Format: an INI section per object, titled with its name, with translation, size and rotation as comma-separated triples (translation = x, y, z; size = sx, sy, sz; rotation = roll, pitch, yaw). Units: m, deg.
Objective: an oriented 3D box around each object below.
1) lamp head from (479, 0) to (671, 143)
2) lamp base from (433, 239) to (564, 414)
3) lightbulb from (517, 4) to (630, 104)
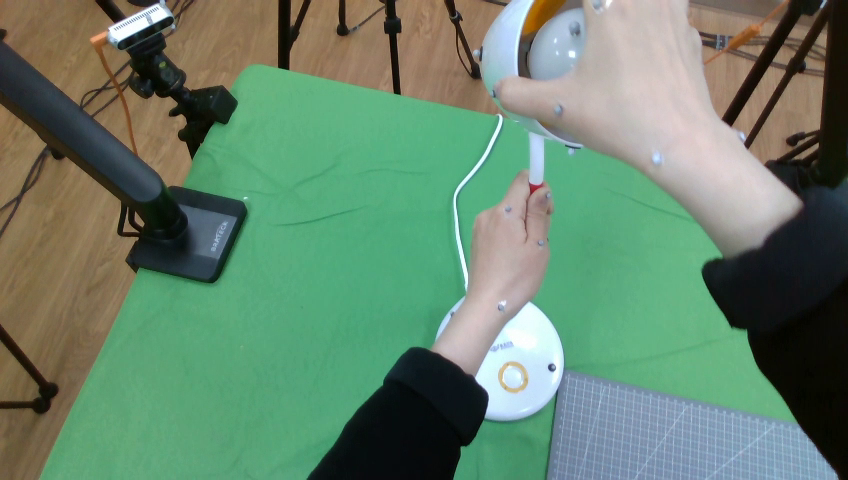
[lamp head]
translation = 0.090, -0.125, 0.424
size = 0.113, 0.122, 0.113
rotation = -3, 101, -17
[lamp base]
translation = 0.089, 0.088, 0.677
size = 0.161, 0.181, 0.177
rotation = -25, 65, -15
[lightbulb]
translation = 0.091, -0.121, 0.399
size = 0.060, 0.107, 0.060
rotation = -4, 107, -14
